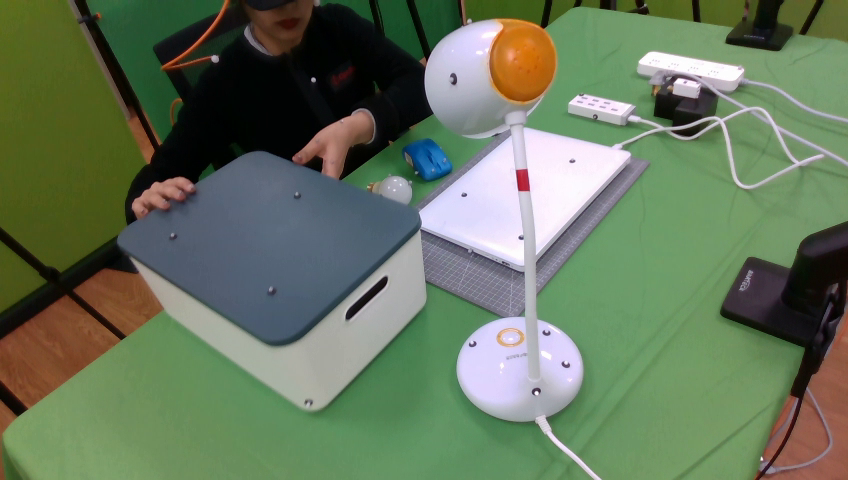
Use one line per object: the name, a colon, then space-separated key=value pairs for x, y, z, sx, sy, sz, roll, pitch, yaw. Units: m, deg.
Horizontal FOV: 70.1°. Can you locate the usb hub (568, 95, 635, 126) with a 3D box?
usb hub: x=0.360 y=-0.263 z=1.228 sx=0.124 sy=0.025 sz=0.049 roll=24 pitch=49 yaw=33

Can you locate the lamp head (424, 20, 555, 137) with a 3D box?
lamp head: x=0.069 y=-0.153 z=0.572 sx=0.113 sy=0.112 sz=0.122 roll=-21 pitch=16 yaw=-14

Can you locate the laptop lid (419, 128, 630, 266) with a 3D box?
laptop lid: x=0.172 y=-0.093 z=1.049 sx=0.239 sy=0.013 sz=0.358 roll=24 pitch=50 yaw=36

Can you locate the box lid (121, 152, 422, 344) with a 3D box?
box lid: x=-0.211 y=-0.012 z=0.816 sx=0.368 sy=0.015 sz=0.264 roll=22 pitch=50 yaw=33

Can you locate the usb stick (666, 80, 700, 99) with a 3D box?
usb stick: x=0.492 y=-0.288 z=1.152 sx=0.058 sy=0.027 sz=0.021 roll=20 pitch=50 yaw=34

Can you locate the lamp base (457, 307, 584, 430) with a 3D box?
lamp base: x=0.115 y=0.108 z=0.713 sx=0.161 sy=0.181 sz=0.178 roll=-17 pitch=43 yaw=-8

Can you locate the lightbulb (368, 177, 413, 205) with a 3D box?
lightbulb: x=-0.065 y=-0.086 z=1.085 sx=0.060 sy=0.060 sz=0.107 roll=-37 pitch=31 yaw=-29

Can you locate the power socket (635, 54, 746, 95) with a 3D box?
power socket: x=0.564 y=-0.357 z=1.293 sx=0.225 sy=0.033 sz=0.072 roll=24 pitch=51 yaw=33

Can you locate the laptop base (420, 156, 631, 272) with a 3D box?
laptop base: x=0.176 y=-0.083 z=1.055 sx=0.233 sy=0.023 sz=0.355 roll=21 pitch=48 yaw=36

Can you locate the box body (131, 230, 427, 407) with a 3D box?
box body: x=-0.202 y=0.044 z=0.866 sx=0.361 sy=0.161 sz=0.255 roll=22 pitch=49 yaw=32

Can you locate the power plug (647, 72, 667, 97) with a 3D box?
power plug: x=0.493 y=-0.321 z=1.261 sx=0.073 sy=0.052 sz=0.035 roll=1 pitch=21 yaw=-41

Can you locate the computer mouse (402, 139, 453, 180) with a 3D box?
computer mouse: x=0.005 y=-0.159 z=1.165 sx=0.063 sy=0.041 sz=0.116 roll=-21 pitch=45 yaw=-17
